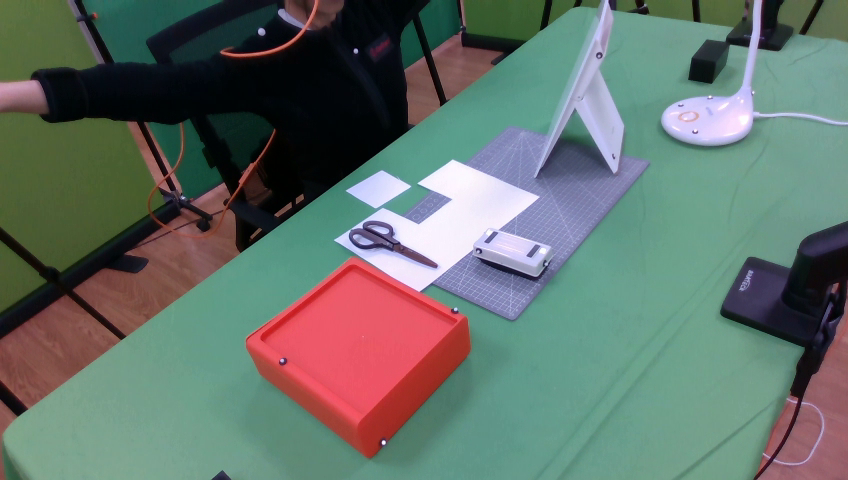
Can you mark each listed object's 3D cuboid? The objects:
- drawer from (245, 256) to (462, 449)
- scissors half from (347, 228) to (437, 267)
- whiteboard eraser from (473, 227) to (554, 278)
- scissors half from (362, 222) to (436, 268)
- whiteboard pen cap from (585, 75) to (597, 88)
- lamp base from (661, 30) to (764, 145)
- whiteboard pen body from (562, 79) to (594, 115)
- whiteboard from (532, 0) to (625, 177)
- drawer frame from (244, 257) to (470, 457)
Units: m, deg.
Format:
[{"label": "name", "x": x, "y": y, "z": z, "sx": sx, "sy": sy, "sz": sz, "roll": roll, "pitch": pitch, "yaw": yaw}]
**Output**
[{"label": "drawer", "x": -0.089, "y": 0.136, "z": 0.792, "sx": 0.210, "sy": 0.073, "sz": 0.195, "roll": 26, "pitch": 51, "yaw": 34}, {"label": "scissors half", "x": -0.054, "y": 0.015, "z": 0.974, "sx": 0.174, "sy": 0.013, "sz": 0.040, "roll": 19, "pitch": 37, "yaw": 24}, {"label": "whiteboard eraser", "x": 0.134, "y": 0.020, "z": 0.913, "sx": 0.112, "sy": 0.042, "sz": 0.056, "roll": 20, "pitch": 50, "yaw": 30}, {"label": "scissors half", "x": -0.040, "y": 0.008, "z": 0.988, "sx": 0.040, "sy": 0.013, "sz": 0.173, "roll": -19, "pitch": 37, "yaw": -37}, {"label": "whiteboard pen cap", "x": 0.362, "y": -0.343, "z": 1.310, "sx": 0.018, "sy": 0.018, "sz": 0.033, "roll": 19, "pitch": 54, "yaw": 29}, {"label": "lamp base", "x": 0.535, "y": -0.287, "z": 1.096, "sx": 0.179, "sy": 0.181, "sz": 0.159, "roll": -10, "pitch": 40, "yaw": -4}, {"label": "whiteboard pen body", "x": 0.328, "y": -0.306, "z": 1.277, "sx": 0.017, "sy": 0.017, "sz": 0.141, "roll": 20, "pitch": 52, "yaw": 30}, {"label": "whiteboard", "x": 0.320, "y": -0.259, "z": 1.050, "sx": 0.144, "sy": 0.306, "sz": 0.217, "roll": 21, "pitch": 45, "yaw": 5}, {"label": "drawer frame", "x": -0.084, "y": 0.138, "z": 0.788, "sx": 0.212, "sy": 0.083, "sz": 0.202, "roll": 25, "pitch": 50, "yaw": 33}]
